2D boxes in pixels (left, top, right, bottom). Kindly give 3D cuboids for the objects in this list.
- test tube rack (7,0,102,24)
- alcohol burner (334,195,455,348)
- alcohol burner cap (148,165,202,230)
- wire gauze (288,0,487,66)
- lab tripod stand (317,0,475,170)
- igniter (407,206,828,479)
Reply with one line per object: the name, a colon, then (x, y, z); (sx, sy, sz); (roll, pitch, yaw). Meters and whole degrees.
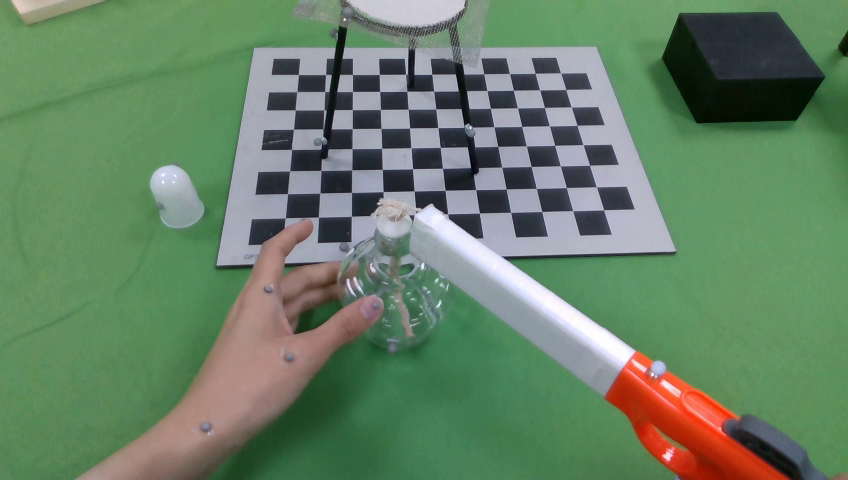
test tube rack: (-0.320, -0.316, 0.629); (0.242, 0.086, 0.066); (-31, 60, -24)
alcohol burner: (-0.019, 0.017, 0.376); (0.078, 0.120, 0.077); (0, 53, 0)
alcohol burner cap: (-0.187, -0.034, 0.450); (0.034, 0.048, 0.033); (2, 52, -3)
wire gauze: (-0.015, -0.170, 0.416); (0.125, 0.011, 0.120); (13, 52, 5)
lab tripod stand: (-0.015, -0.131, 0.471); (0.148, 0.132, 0.147); (3, 52, -3)
igniter: (0.098, 0.070, 0.279); (0.274, 0.057, 0.025); (36, 52, 22)
